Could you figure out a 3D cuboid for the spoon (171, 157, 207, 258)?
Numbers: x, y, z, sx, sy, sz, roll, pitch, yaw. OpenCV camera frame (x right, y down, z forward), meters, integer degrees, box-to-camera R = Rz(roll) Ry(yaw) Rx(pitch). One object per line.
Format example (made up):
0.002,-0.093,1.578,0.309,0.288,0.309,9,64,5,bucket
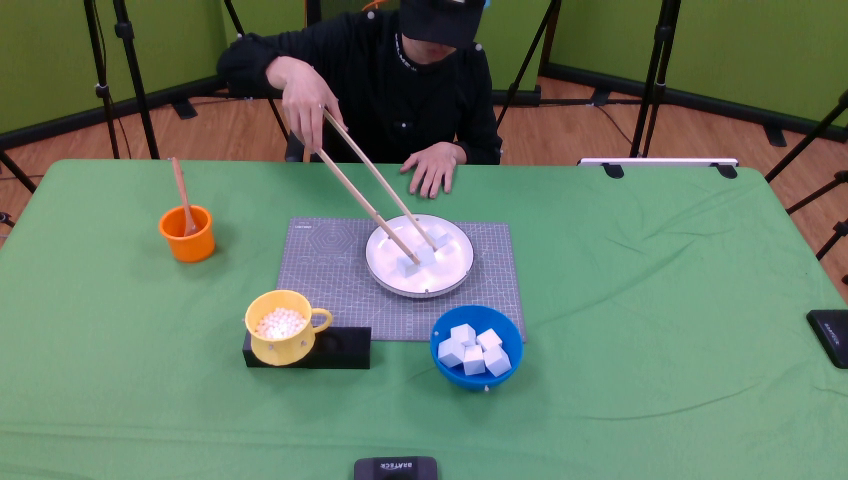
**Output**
-0.444,-0.061,1.133,0.042,0.194,0.021,-12,5,-18,spoon

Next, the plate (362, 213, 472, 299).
-0.014,0.034,1.150,0.208,0.039,0.206,3,46,-2,plate

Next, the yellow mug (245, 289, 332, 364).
-0.210,0.133,0.954,0.131,0.064,0.099,-9,48,-14,yellow mug

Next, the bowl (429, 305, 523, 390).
0.080,0.188,0.985,0.151,0.077,0.150,3,46,-3,bowl

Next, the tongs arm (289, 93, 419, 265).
-0.126,-0.113,1.100,0.051,0.026,0.384,-41,84,-21,tongs arm

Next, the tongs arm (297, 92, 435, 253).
-0.106,-0.127,1.110,0.028,0.028,0.387,-38,83,-17,tongs arm
